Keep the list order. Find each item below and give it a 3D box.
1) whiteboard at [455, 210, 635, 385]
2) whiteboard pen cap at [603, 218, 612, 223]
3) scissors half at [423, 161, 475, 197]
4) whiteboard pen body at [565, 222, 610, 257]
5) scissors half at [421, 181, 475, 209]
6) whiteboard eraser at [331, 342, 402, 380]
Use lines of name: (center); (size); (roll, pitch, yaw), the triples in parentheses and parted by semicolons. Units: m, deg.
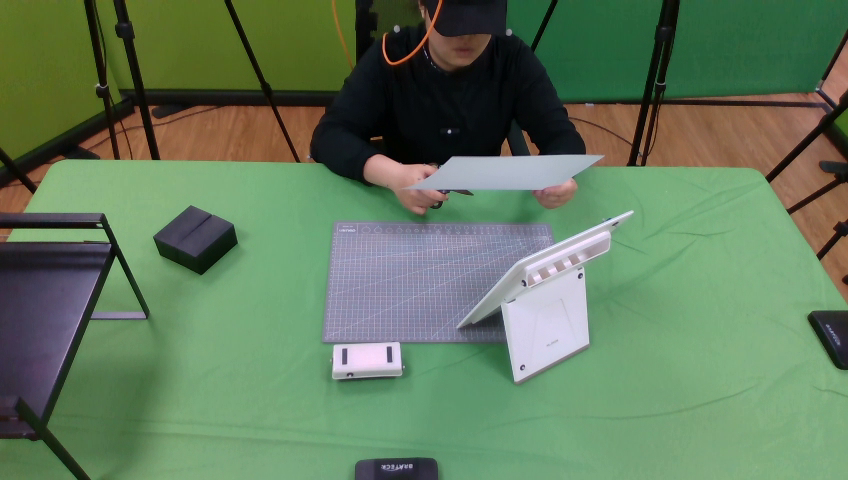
whiteboard: (0.211, 0.111, 0.955); (0.217, 0.306, 0.143); (-21, 72, -23)
whiteboard pen cap: (0.379, -0.031, 1.255); (0.033, 0.018, 0.018); (-32, 56, -29)
scissors half: (0.048, -0.116, 1.179); (0.013, 0.040, 0.174); (-1, 26, -34)
whiteboard pen body: (0.335, -0.004, 1.228); (0.141, 0.017, 0.017); (-33, 56, -29)
scissors half: (0.046, -0.092, 1.183); (0.013, 0.175, 0.040); (-6, 84, -34)
whiteboard eraser: (-0.094, 0.198, 0.986); (0.113, 0.042, 0.055); (-2, 44, -6)
